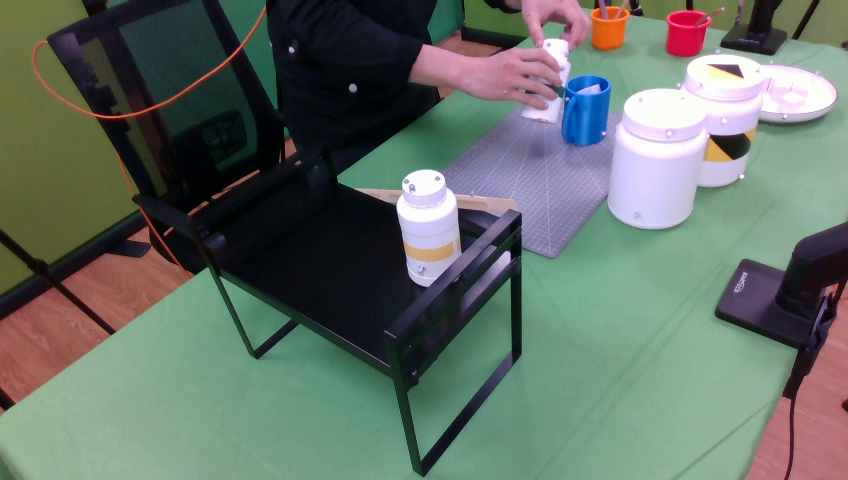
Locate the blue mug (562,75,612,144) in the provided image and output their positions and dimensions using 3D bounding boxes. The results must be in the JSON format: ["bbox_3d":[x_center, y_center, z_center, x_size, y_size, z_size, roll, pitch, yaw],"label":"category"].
[{"bbox_3d":[0.298,-0.239,1.143,0.081,0.106,0.117,30,54,36],"label":"blue mug"}]

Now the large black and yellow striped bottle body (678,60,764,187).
[{"bbox_3d":[0.482,-0.196,1.008,0.131,0.185,0.130,-4,41,4],"label":"large black and yellow striped bottle body"}]

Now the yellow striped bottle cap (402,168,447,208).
[{"bbox_3d":[0.000,-0.052,0.605,0.044,0.019,0.044,-5,43,5],"label":"yellow striped bottle cap"}]

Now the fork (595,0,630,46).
[{"bbox_3d":[0.480,-0.556,1.453,0.028,0.019,0.207,41,103,40],"label":"fork"}]

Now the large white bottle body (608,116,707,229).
[{"bbox_3d":[0.361,-0.124,0.942,0.130,0.185,0.130,-4,41,4],"label":"large white bottle body"}]

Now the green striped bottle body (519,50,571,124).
[{"bbox_3d":[0.199,-0.254,0.983,0.063,0.119,0.063,12,11,-2],"label":"green striped bottle body"}]

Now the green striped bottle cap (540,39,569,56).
[{"bbox_3d":[0.210,-0.308,0.974,0.044,0.020,0.044,8,6,0],"label":"green striped bottle cap"}]

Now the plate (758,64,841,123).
[{"bbox_3d":[0.695,-0.283,1.189,0.207,0.039,0.206,-4,40,4],"label":"plate"}]

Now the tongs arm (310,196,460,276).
[{"bbox_3d":[-0.078,-0.012,0.944,0.028,0.028,0.384,-43,39,-22],"label":"tongs arm"}]

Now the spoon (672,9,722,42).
[{"bbox_3d":[0.606,-0.476,1.345,0.042,0.021,0.193,-6,-3,-2],"label":"spoon"}]

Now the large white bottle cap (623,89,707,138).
[{"bbox_3d":[0.352,-0.187,0.886,0.115,0.018,0.114,-4,41,4],"label":"large white bottle cap"}]

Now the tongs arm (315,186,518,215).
[{"bbox_3d":[-0.028,-0.060,0.988,0.382,0.027,0.051,10,45,36],"label":"tongs arm"}]

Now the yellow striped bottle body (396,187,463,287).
[{"bbox_3d":[0.006,-0.013,0.638,0.063,0.121,0.062,-5,41,5],"label":"yellow striped bottle body"}]

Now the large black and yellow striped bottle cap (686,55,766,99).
[{"bbox_3d":[0.474,-0.258,0.952,0.115,0.019,0.114,-5,41,5],"label":"large black and yellow striped bottle cap"}]

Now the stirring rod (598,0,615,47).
[{"bbox_3d":[0.437,-0.551,1.462,0.014,0.006,0.175,-11,83,1],"label":"stirring rod"}]
